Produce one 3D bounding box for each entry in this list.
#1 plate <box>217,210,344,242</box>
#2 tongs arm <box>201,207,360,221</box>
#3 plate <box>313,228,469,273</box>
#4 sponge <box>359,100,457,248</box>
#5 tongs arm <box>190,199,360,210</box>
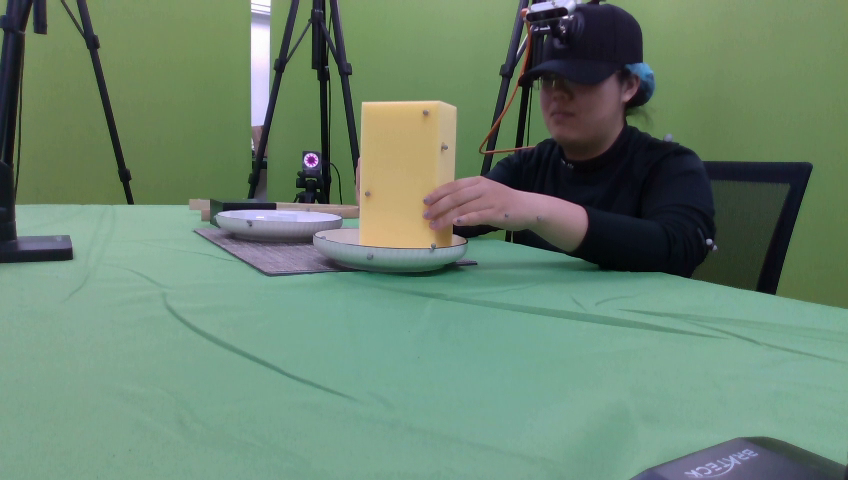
[{"bbox_3d":[-0.241,-0.024,1.026,0.208,0.039,0.207,3,7,0],"label":"plate"},{"bbox_3d":[-0.302,-0.060,1.350,0.390,0.028,0.028,-3,7,-38],"label":"tongs arm"},{"bbox_3d":[-0.044,0.013,0.808,0.209,0.038,0.209,2,7,0],"label":"plate"},{"bbox_3d":[-0.022,-0.082,0.825,0.118,0.206,0.061,3,5,25],"label":"sponge"},{"bbox_3d":[-0.341,-0.075,1.419,0.387,0.026,0.050,0,9,-25],"label":"tongs arm"}]
